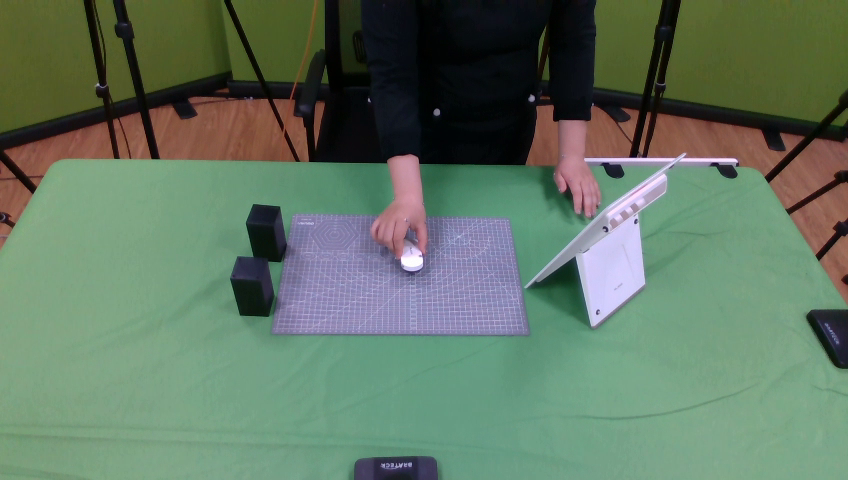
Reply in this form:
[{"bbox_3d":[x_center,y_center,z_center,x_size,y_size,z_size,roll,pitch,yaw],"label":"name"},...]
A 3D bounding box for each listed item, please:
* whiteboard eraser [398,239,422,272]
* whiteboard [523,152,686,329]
[{"bbox_3d":[-0.027,0.028,1.150,0.041,0.019,0.100,-3,31,-4],"label":"whiteboard eraser"},{"bbox_3d":[0.346,0.024,1.047,0.217,0.306,0.143,-30,74,-29],"label":"whiteboard"}]
